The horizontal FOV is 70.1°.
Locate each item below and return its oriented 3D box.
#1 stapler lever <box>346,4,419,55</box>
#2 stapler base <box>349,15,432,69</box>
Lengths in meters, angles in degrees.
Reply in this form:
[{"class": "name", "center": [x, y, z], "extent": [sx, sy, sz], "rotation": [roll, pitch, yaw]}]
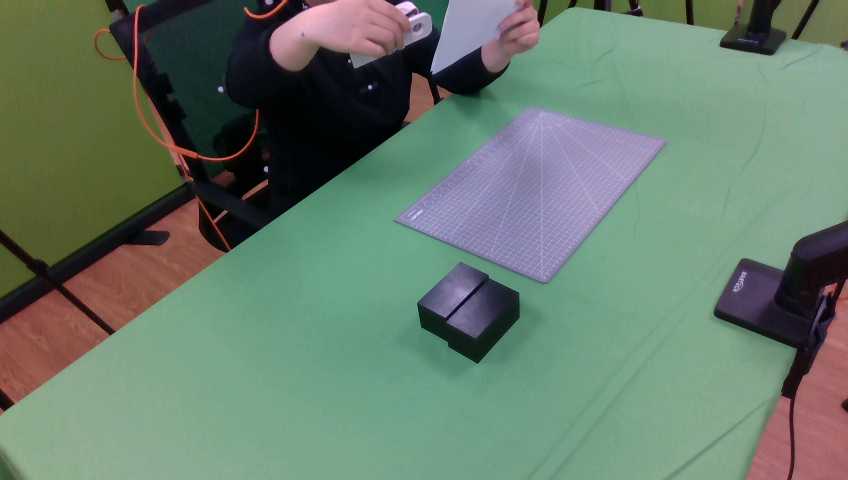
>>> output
[{"class": "stapler lever", "center": [-0.062, -0.311, 0.890], "extent": [0.118, 0.027, 0.040], "rotation": [-23, 65, -6]}, {"class": "stapler base", "center": [-0.051, -0.295, 0.883], "extent": [0.131, 0.041, 0.024], "rotation": [-28, 65, -8]}]
